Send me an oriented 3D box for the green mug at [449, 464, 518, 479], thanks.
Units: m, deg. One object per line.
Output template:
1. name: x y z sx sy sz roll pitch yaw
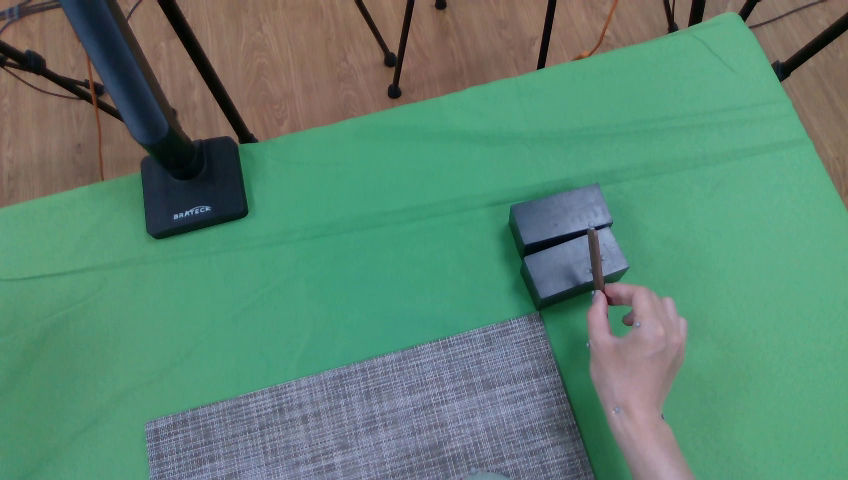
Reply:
1. green mug: 0.066 0.269 0.556 0.092 0.105 0.124 -32 72 -7

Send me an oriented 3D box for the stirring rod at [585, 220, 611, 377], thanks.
1. stirring rod: 0.177 0.063 0.615 0.006 0.014 0.177 -18 111 -16
